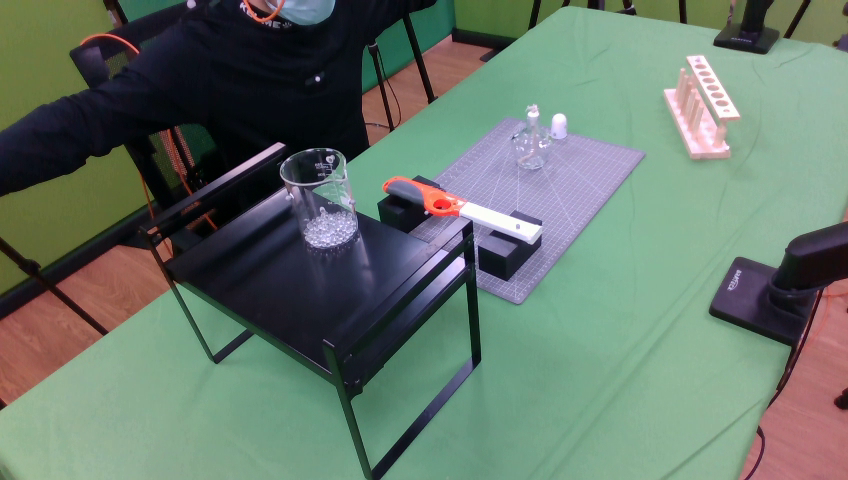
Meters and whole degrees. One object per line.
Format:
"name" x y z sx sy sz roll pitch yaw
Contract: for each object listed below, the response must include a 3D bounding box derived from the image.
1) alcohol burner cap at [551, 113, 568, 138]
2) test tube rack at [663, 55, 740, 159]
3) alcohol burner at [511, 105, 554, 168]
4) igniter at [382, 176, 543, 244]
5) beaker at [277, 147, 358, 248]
"alcohol burner cap" 0.263 -0.223 1.172 0.034 0.048 0.033 -5 40 4
"test tube rack" 0.518 -0.256 1.144 0.066 0.085 0.241 -1 41 8
"alcohol burner" 0.196 -0.190 1.088 0.078 0.119 0.077 -3 42 3
"igniter" 0.052 -0.052 0.941 0.274 0.025 0.057 22 47 27
"beaker" -0.117 -0.046 0.705 0.083 0.101 0.074 17 47 25
